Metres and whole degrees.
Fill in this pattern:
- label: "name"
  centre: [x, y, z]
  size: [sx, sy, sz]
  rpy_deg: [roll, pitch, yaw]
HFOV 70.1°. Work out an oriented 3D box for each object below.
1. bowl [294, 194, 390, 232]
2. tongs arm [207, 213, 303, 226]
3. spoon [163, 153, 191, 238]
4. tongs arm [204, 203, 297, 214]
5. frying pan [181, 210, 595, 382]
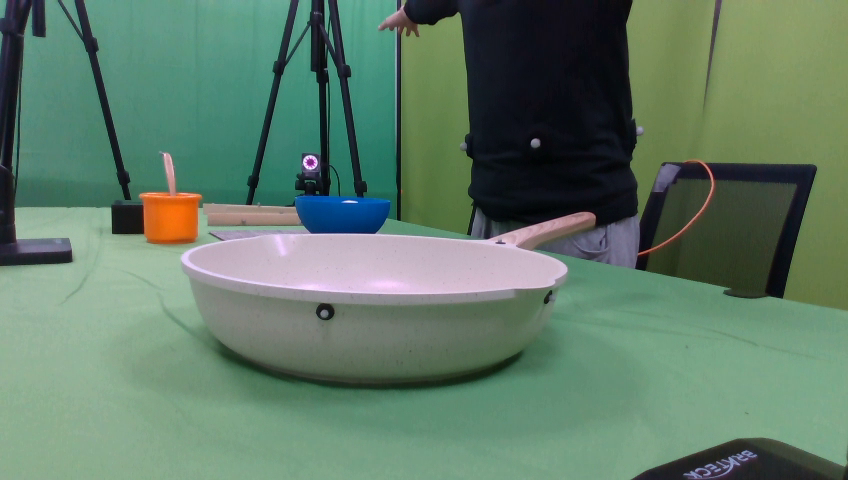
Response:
- label: "bowl"
  centre: [-0.130, -0.029, 0.956]
  size: [0.151, 0.077, 0.151]
  rpy_deg: [2, 7, 0]
- label: "tongs arm"
  centre: [-0.264, -0.046, 1.297]
  size: [0.390, 0.028, 0.028]
  rpy_deg: [-2, 7, -32]
- label: "spoon"
  centre: [-0.413, -0.077, 0.996]
  size: [0.042, 0.193, 0.021]
  rpy_deg: [2, -37, -31]
- label: "tongs arm"
  centre: [-0.295, -0.062, 1.370]
  size: [0.386, 0.026, 0.050]
  rpy_deg: [1, 9, -19]
- label: "frying pan"
  centre: [0.034, 0.019, 0.557]
  size: [0.305, 0.102, 0.490]
  rpy_deg: [10, 19, 42]
